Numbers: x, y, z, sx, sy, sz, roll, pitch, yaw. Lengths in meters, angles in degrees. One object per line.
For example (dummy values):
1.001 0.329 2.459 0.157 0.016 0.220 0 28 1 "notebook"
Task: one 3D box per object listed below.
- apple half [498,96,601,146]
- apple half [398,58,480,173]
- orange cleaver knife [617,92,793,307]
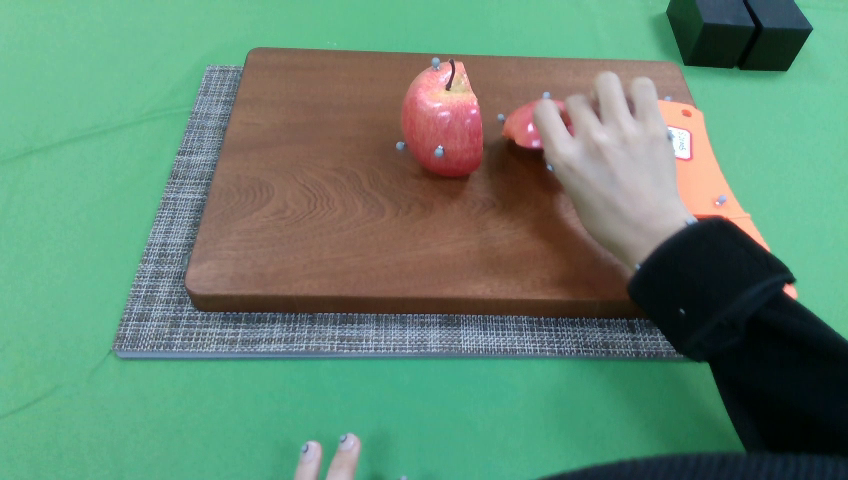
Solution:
0.098 -0.095 0.470 0.081 0.033 0.081 0 21 0 "apple half"
0.008 -0.090 0.453 0.053 0.075 0.080 -11 58 -6 "apple half"
0.206 -0.041 0.463 0.077 0.012 0.209 -4 56 -10 "orange cleaver knife"
